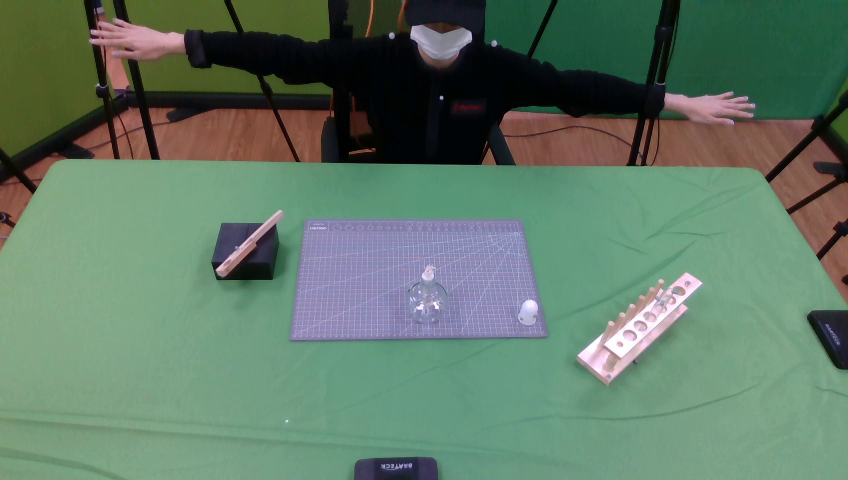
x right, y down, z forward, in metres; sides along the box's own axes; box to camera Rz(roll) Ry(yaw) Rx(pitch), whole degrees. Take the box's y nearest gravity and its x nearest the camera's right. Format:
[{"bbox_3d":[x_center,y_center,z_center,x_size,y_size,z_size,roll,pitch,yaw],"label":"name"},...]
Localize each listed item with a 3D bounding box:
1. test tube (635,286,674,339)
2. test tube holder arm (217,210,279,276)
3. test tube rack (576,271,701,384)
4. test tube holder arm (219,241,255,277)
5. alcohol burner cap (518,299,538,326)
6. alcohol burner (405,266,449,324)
[{"bbox_3d":[0.375,0.123,0.994,0.017,0.151,0.017,2,52,-2],"label":"test tube"},{"bbox_3d":[-0.319,0.002,1.108,0.013,0.015,0.178,17,46,15],"label":"test tube holder arm"},{"bbox_3d":[0.373,0.138,1.047,0.242,0.085,0.066,-31,56,-29],"label":"test tube rack"},{"bbox_3d":[-0.331,0.032,1.076,0.010,0.015,0.087,19,47,17],"label":"test tube holder arm"},{"bbox_3d":[0.186,0.126,1.072,0.034,0.048,0.033,1,45,-1],"label":"alcohol burner cap"},{"bbox_3d":[0.005,0.089,1.043,0.078,0.120,0.077,1,45,-1],"label":"alcohol burner"}]
